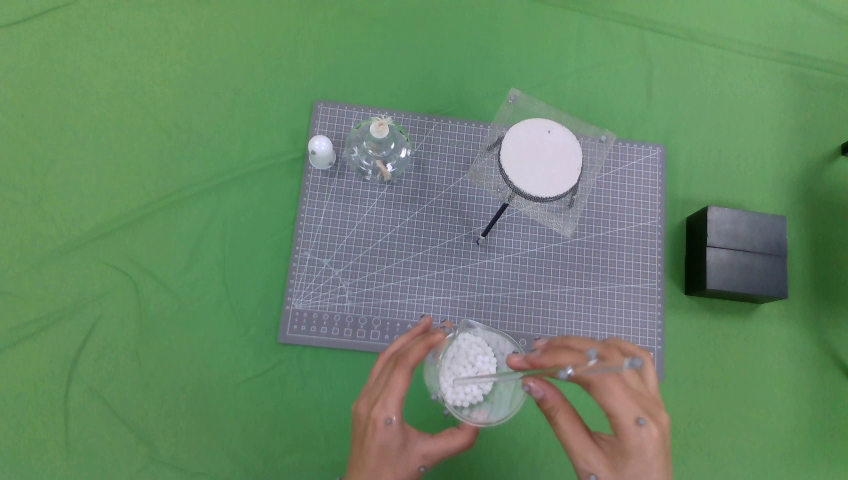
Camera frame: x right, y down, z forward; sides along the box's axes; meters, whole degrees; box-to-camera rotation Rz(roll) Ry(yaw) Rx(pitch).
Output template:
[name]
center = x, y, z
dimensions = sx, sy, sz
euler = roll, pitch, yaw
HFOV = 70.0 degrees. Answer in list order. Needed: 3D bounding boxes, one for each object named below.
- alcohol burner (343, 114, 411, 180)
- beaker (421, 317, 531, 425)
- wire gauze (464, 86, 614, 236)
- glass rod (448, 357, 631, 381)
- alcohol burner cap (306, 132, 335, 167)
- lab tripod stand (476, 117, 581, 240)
[alcohol burner]
center = -0.052, -0.112, 0.683
dimensions = 0.078, 0.119, 0.077
euler = 2, 76, -7
[beaker]
center = 0.036, 0.106, 0.507
dimensions = 0.074, 0.100, 0.083
euler = -17, 84, -11
[wire gauze]
center = 0.118, -0.084, 0.616
dimensions = 0.125, 0.011, 0.121
euler = 28, 76, 0
[glass rod]
center = 0.064, 0.088, 0.407
dimensions = 0.008, 0.199, 0.008
euler = 7, 73, -25
[alcohol burner cap]
center = -0.123, -0.108, 0.711
dimensions = 0.034, 0.048, 0.033
euler = 1, 76, -4
[lab tripod stand]
center = 0.116, -0.070, 0.681
dimensions = 0.148, 0.132, 0.147
euler = 2, 75, -6
